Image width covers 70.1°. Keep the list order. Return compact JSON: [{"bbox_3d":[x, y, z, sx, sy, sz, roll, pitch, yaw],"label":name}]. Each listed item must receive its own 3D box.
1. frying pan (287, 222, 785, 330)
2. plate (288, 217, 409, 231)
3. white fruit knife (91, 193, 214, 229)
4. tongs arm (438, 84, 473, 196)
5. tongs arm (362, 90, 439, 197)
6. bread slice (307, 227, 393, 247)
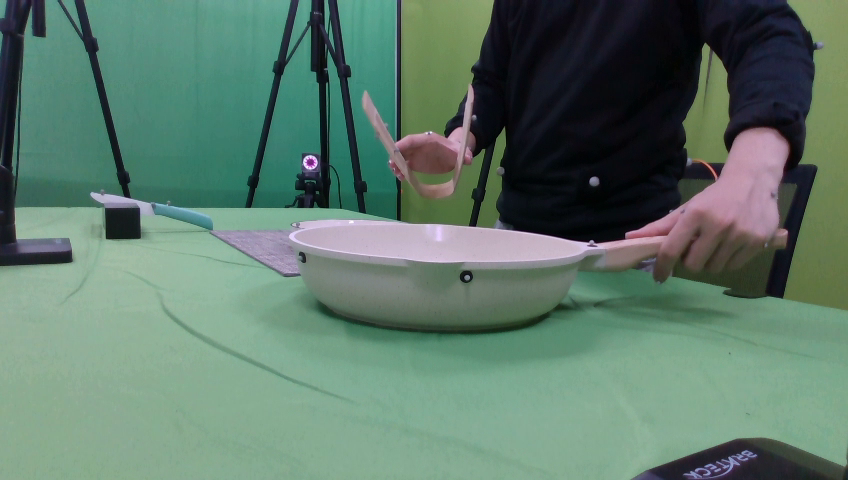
[{"bbox_3d":[0.114,0.016,0.606,0.488,0.102,0.307,-6,8,3],"label":"frying pan"},{"bbox_3d":[-0.109,-0.008,0.956,0.208,0.039,0.207,2,7,0],"label":"plate"},{"bbox_3d":[-0.478,-0.055,1.078,0.208,0.027,0.016,14,1,-30],"label":"white fruit knife"},{"bbox_3d":[0.046,-0.132,0.899,0.028,0.027,0.387,-7,-12,-3],"label":"tongs arm"},{"bbox_3d":[-0.023,-0.128,0.903,0.051,0.026,0.385,-5,-13,7],"label":"tongs arm"},{"bbox_3d":[-0.115,-0.006,0.950,0.134,0.018,0.107,2,6,-7],"label":"bread slice"}]
